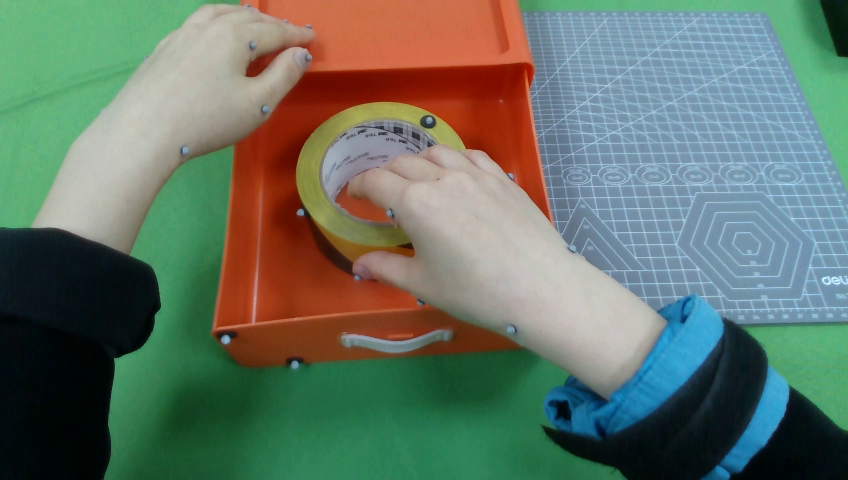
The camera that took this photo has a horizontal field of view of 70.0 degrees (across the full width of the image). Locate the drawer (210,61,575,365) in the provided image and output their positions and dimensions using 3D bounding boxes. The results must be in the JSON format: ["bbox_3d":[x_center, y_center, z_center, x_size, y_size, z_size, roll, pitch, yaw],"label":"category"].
[{"bbox_3d":[-0.022,-0.031,0.392,0.195,0.074,0.210,-3,62,-3],"label":"drawer"}]

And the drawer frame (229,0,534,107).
[{"bbox_3d":[-0.035,-0.181,0.472,0.202,0.083,0.211,-4,60,-4],"label":"drawer frame"}]

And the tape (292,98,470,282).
[{"bbox_3d":[-0.025,-0.033,0.401,0.117,0.053,0.116,1,63,-1],"label":"tape"}]
